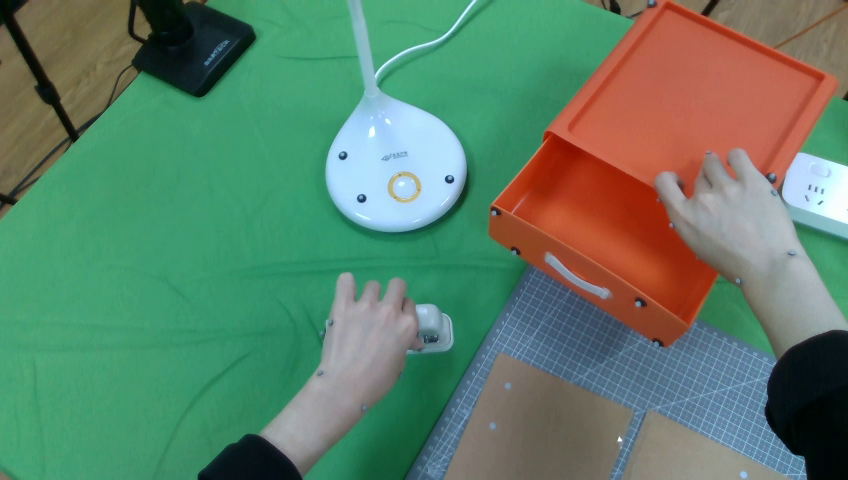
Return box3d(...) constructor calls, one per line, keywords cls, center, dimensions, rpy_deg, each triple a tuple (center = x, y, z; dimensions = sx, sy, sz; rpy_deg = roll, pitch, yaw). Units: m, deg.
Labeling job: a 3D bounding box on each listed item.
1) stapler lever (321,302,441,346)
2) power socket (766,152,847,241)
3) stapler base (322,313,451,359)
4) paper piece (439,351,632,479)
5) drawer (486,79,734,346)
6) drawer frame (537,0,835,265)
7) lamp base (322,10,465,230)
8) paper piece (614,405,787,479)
box3d(cls="stapler lever", center=(-0.043, 0.081, 0.580), dimensions=(0.118, 0.040, 0.026), rpy_deg=(-6, 61, 3))
box3d(cls="power socket", center=(0.470, -0.027, 0.626), dimensions=(0.226, 0.033, 0.072), rpy_deg=(22, 69, 12))
box3d(cls="stapler base", center=(-0.039, 0.092, 0.603), dimensions=(0.130, 0.024, 0.041), rpy_deg=(-5, 61, 2))
box3d(cls="paper piece", center=(0.103, 0.188, 0.556), dimensions=(0.135, 0.009, 0.137), rpy_deg=(22, 69, 16))
box3d(cls="drawer", center=(0.196, -0.041, 0.572), dimensions=(0.193, 0.074, 0.211), rpy_deg=(34, 71, 18))
box3d(cls="drawer frame", center=(0.251, -0.111, 0.600), dimensions=(0.200, 0.083, 0.213), rpy_deg=(34, 70, 17))
box3d(cls="lamp base", center=(-0.044, -0.126, 0.618), dimensions=(0.161, 0.182, 0.177), rpy_deg=(-24, 63, -8))
box3d(cls="paper piece", center=(0.232, 0.235, 0.527), dimensions=(0.135, 0.004, 0.135), rpy_deg=(26, 69, 15))
